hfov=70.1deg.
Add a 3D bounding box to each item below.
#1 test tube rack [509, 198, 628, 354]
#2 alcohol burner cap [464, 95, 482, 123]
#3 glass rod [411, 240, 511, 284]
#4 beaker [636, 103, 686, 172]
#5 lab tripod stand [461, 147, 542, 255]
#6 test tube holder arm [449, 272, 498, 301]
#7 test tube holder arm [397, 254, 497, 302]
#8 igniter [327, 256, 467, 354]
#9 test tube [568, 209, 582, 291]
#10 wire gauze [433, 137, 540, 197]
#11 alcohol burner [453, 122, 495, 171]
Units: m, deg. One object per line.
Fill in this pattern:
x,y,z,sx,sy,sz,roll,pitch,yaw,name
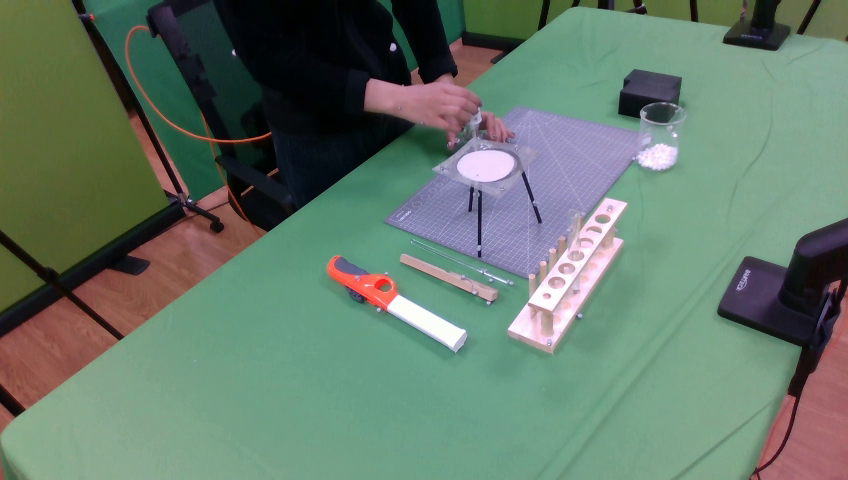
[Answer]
0.206,0.039,0.850,0.066,0.085,0.243,20,48,31,test tube rack
0.086,-0.234,1.072,0.034,0.048,0.033,-5,41,5,alcohol burner cap
0.053,0.033,0.946,0.198,0.008,0.008,22,50,36,glass rod
0.413,-0.177,1.055,0.084,0.101,0.073,-28,44,-21,beaker
0.114,-0.069,0.953,0.148,0.132,0.147,-5,38,4,lab tripod stand
0.070,0.069,0.895,0.087,0.015,0.010,21,11,32,test tube holder arm
0.031,0.055,0.913,0.177,0.015,0.013,21,11,29,test tube holder arm
-0.051,0.088,0.886,0.274,0.025,0.057,27,62,35,igniter
0.200,0.017,0.799,0.017,0.151,0.017,-8,45,8,test tube
0.094,-0.116,0.907,0.124,0.011,0.122,21,47,30,wire gauze
0.092,-0.187,1.112,0.078,0.119,0.077,-4,41,4,alcohol burner
